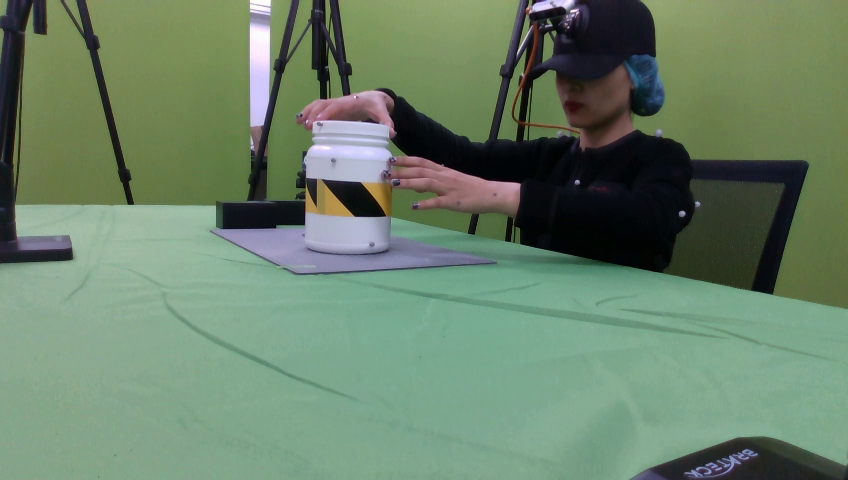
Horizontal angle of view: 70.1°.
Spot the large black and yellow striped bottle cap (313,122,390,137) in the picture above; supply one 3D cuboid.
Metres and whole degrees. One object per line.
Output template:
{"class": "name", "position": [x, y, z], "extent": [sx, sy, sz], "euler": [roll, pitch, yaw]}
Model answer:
{"class": "large black and yellow striped bottle cap", "position": [-0.108, -0.163, 0.901], "extent": [0.115, 0.019, 0.115], "euler": [1, 7, 0]}

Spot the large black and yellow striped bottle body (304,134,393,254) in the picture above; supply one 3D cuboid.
{"class": "large black and yellow striped bottle body", "position": [-0.113, -0.077, 0.913], "extent": [0.131, 0.184, 0.130], "euler": [3, 7, 0]}
